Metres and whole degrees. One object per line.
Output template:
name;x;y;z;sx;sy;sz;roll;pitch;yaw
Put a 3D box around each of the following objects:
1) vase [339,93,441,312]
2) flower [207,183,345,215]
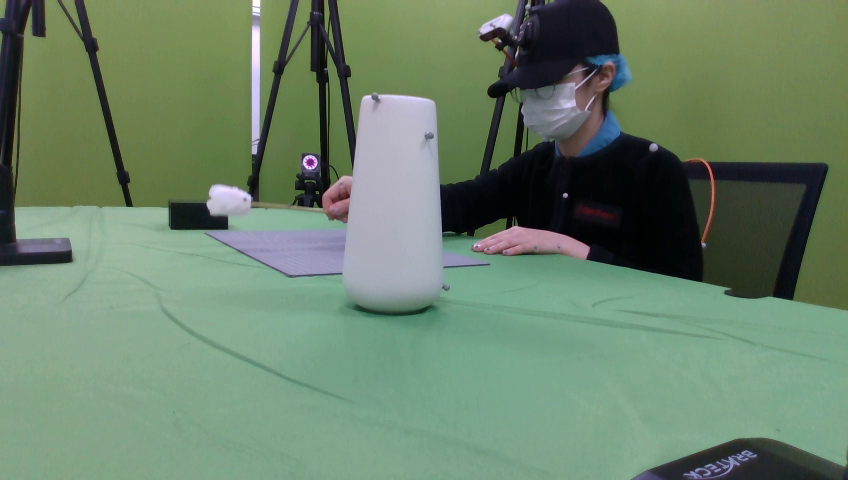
vase;-0.032;-0.035;0.577;0.098;0.200;0.098;0;7;0
flower;-0.156;-0.048;0.972;0.363;0.044;0.038;6;-18;-26
